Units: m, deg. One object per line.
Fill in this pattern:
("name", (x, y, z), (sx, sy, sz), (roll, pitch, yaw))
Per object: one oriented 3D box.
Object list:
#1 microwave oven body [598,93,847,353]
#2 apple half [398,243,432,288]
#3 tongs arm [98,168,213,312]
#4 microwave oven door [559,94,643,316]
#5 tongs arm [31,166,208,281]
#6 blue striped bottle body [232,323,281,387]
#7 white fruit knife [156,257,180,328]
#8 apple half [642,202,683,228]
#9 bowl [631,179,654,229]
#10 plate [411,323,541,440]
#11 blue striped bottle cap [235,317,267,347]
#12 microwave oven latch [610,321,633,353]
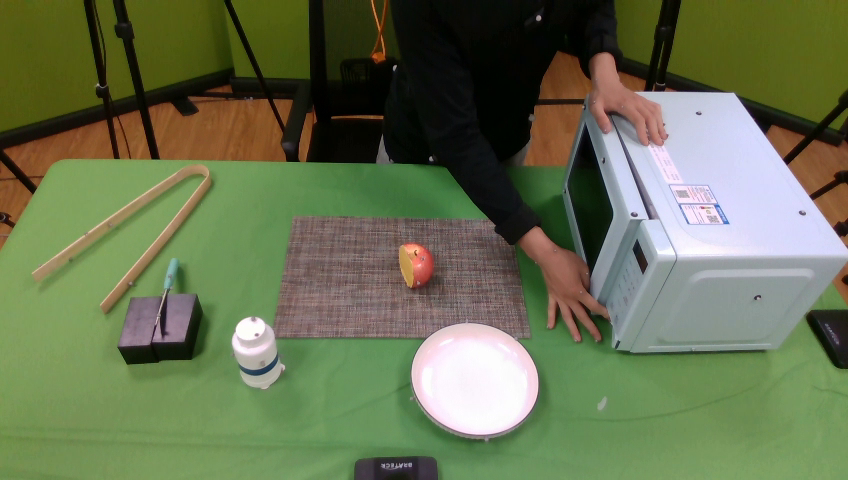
("microwave oven body", (0.476, -0.041, 1.110), (0.326, 0.261, 0.438), (-1, 45, -4))
("apple half", (-0.012, 0.047, 1.115), (0.053, 0.075, 0.080), (-10, 43, -21))
("tongs arm", (-0.503, -0.013, 1.166), (0.028, 0.028, 0.385), (10, 45, 11))
("microwave oven door", (0.318, -0.074, 1.122), (0.039, 0.245, 0.353), (2, 46, -2))
("tongs arm", (-0.577, -0.040, 1.184), (0.050, 0.026, 0.384), (22, 47, 18))
("blue striped bottle body", (-0.262, 0.172, 0.944), (0.063, 0.121, 0.062), (2, 46, -2))
("white fruit knife", (-0.440, 0.085, 1.037), (0.016, 0.027, 0.206), (10, 26, -19))
("apple half", (0.458, -0.055, 1.160), (0.081, 0.033, 0.081), (0, 31, 0))
("bowl", (0.457, -0.047, 1.167), (0.151, 0.077, 0.150), (7, 36, -5))
("plate", (0.082, 0.228, 0.976), (0.208, 0.039, 0.206), (2, 46, -2))
("blue striped bottle cap", (-0.259, 0.137, 0.907), (0.044, 0.021, 0.044), (2, 43, -2))
("microwave oven latch", (0.338, 0.155, 1.043), (0.030, 0.029, 0.078), (7, 45, 4))
